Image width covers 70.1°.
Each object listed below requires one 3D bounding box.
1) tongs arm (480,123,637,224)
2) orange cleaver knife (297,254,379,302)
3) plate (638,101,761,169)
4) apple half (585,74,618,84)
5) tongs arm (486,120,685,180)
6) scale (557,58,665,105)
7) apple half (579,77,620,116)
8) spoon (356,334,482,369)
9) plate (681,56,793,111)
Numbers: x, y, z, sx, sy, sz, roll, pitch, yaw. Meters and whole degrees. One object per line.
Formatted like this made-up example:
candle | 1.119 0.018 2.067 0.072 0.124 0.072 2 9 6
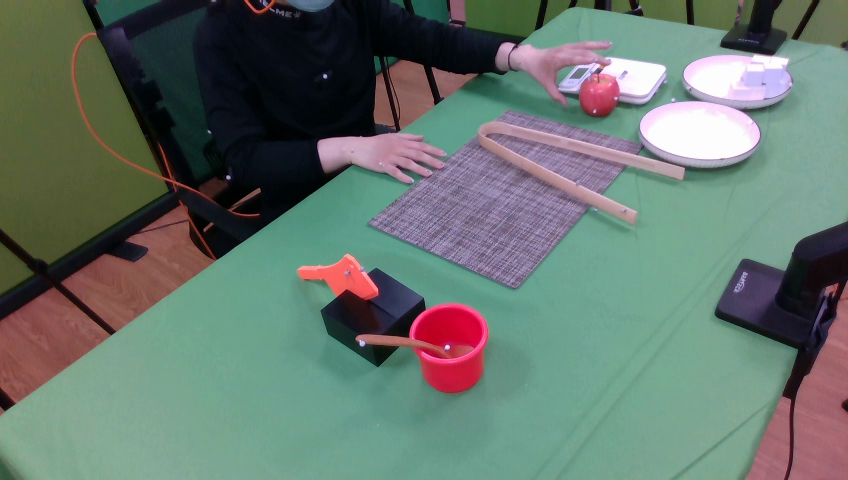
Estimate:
tongs arm | 0.228 -0.128 1.080 0.051 0.026 0.381 -33 46 -25
orange cleaver knife | -0.128 0.058 0.874 0.012 0.077 0.210 -38 16 -30
plate | 0.500 -0.189 1.111 0.209 0.038 0.208 -4 41 4
apple half | 0.366 -0.310 1.243 0.081 0.081 0.033 15 49 24
tongs arm | 0.287 -0.171 1.123 0.384 0.028 0.028 21 53 29
scale | 0.407 -0.348 1.314 0.199 0.032 0.149 19 47 28
apple half | 0.348 -0.285 1.218 0.080 0.075 0.053 17 50 21
spoon | -0.001 0.130 0.731 0.195 0.021 0.041 21 28 -39
plate | 0.636 -0.317 1.239 0.207 0.039 0.206 -4 40 4
